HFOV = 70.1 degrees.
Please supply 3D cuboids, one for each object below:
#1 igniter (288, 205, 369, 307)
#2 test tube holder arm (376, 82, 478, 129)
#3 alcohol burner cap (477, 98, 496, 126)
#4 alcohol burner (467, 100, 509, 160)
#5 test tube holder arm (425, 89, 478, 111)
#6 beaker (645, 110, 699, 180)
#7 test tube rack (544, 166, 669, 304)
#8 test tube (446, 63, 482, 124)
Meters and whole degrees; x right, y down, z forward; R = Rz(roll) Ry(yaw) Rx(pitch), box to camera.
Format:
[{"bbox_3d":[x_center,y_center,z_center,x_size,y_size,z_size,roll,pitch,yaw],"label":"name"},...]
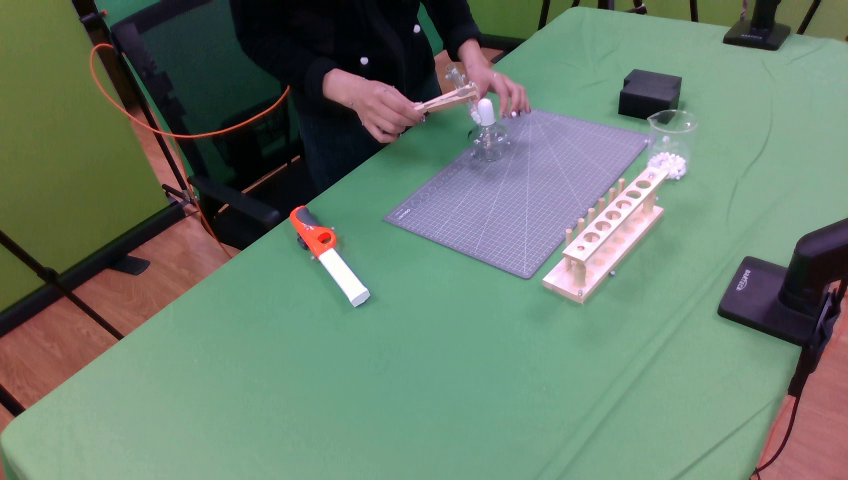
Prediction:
[{"bbox_3d":[-0.163,0.017,0.986,0.057,0.025,0.274,-33,45,-12],"label":"igniter"},{"bbox_3d":[0.003,-0.216,0.978,0.178,0.015,0.013,-17,61,20],"label":"test tube holder arm"},{"bbox_3d":[0.112,-0.238,1.108,0.034,0.048,0.033,-8,38,7],"label":"alcohol burner cap"},{"bbox_3d":[0.118,-0.210,1.131,0.078,0.119,0.077,-5,42,5],"label":"alcohol burner"},{"bbox_3d":[0.043,-0.221,0.959,0.087,0.015,0.010,-10,64,23],"label":"test tube holder arm"},{"bbox_3d":[0.417,-0.160,1.032,0.083,0.101,0.074,25,51,35],"label":"beaker"},{"bbox_3d":[0.274,-0.018,0.903,0.066,0.085,0.243,26,51,35],"label":"test tube rack"},{"bbox_3d":[0.066,-0.229,0.957,0.017,0.151,0.017,-9,65,19],"label":"test tube"}]
